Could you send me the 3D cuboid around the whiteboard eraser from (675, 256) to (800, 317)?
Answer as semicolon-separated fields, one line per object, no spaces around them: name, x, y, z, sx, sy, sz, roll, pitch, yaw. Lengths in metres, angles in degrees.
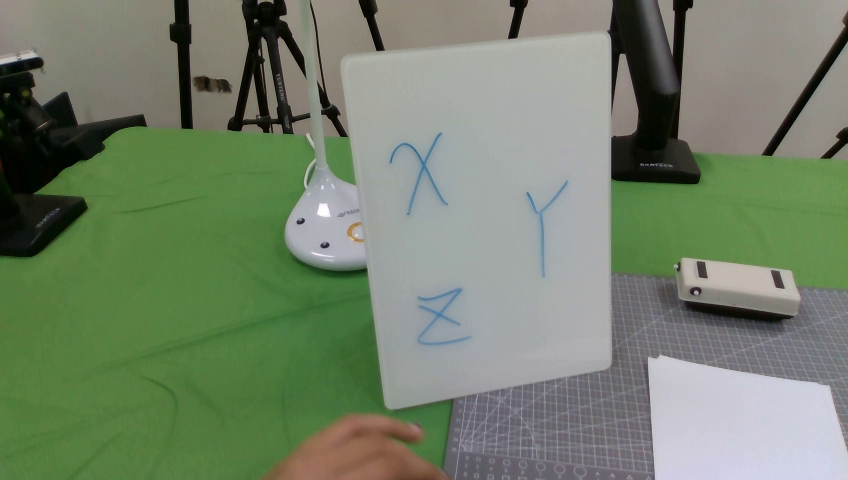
whiteboard eraser;0.322;0.049;0.631;0.112;0.042;0.055;8;38;13

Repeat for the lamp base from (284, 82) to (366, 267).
lamp base;-0.103;-0.085;0.717;0.161;0.182;0.177;-26;40;-31

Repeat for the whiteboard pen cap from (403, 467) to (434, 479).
whiteboard pen cap;0.003;0.160;0.386;0.033;0.018;0.018;17;38;40

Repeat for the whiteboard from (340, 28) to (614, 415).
whiteboard;0.046;-0.025;0.570;0.217;0.307;0.143;-8;17;-8
